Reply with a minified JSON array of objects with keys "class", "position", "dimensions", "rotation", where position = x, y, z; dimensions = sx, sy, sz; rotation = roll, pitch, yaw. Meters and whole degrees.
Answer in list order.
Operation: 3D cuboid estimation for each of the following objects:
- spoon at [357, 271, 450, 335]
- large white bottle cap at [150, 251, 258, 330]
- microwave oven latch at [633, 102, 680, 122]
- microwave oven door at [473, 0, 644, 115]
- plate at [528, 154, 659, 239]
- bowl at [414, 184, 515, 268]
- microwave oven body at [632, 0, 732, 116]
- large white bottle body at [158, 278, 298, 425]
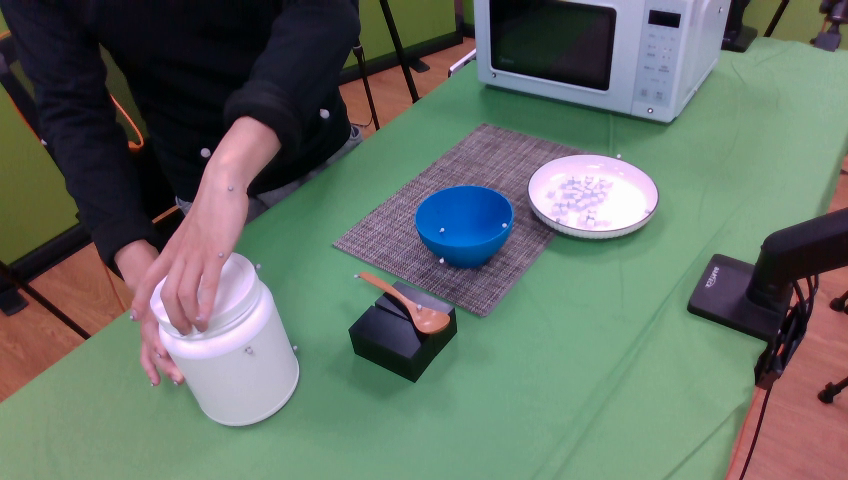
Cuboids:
[{"class":"spoon","position":[-0.034,0.078,0.812],"dimensions":[0.042,0.022,0.192],"rotation":[-37,43,-22]},{"class":"large white bottle cap","position":[-0.246,0.054,0.678],"dimensions":[0.115,0.018,0.114],"rotation":[-3,39,3]},{"class":"microwave oven latch","position":[0.444,-0.249,1.157],"dimensions":[0.078,0.029,0.030],"rotation":[21,49,30]},{"class":"microwave oven door","position":[0.257,-0.396,1.199],"dimensions":[0.353,0.245,0.039],"rotation":[21,48,29]},{"class":"plate","position":[0.274,-0.069,0.993],"dimensions":[0.209,0.038,0.208],"rotation":[-2,42,2]},{"class":"bowl","position":[0.063,-0.010,0.923],"dimensions":[0.151,0.077,0.150],"rotation":[-4,40,4]},{"class":"microwave oven body","position":[0.377,-0.462,1.267],"dimensions":[0.438,0.261,0.327],"rotation":[21,48,30]},{"class":"large white bottle body","position":[-0.237,0.121,0.733],"dimensions":[0.130,0.185,0.130],"rotation":[-4,40,4]}]
